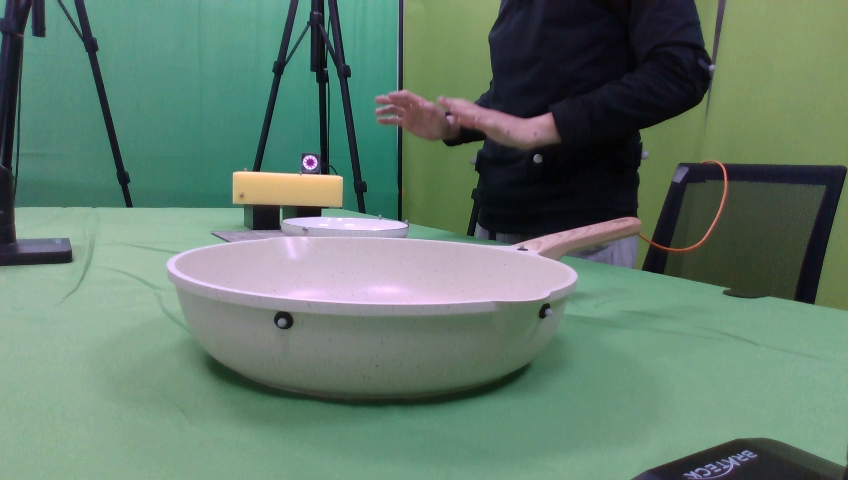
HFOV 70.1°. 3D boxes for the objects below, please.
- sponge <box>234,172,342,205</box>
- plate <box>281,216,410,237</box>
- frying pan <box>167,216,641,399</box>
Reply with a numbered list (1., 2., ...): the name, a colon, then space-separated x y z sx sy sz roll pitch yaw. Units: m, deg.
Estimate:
1. sponge: -0.273 -0.105 1.223 0.207 0.061 0.118 0 7 -14
2. plate: -0.126 -0.012 0.986 0.208 0.039 0.207 2 7 0
3. frying pan: 0.046 0.024 0.519 0.490 0.102 0.305 -14 16 -37
